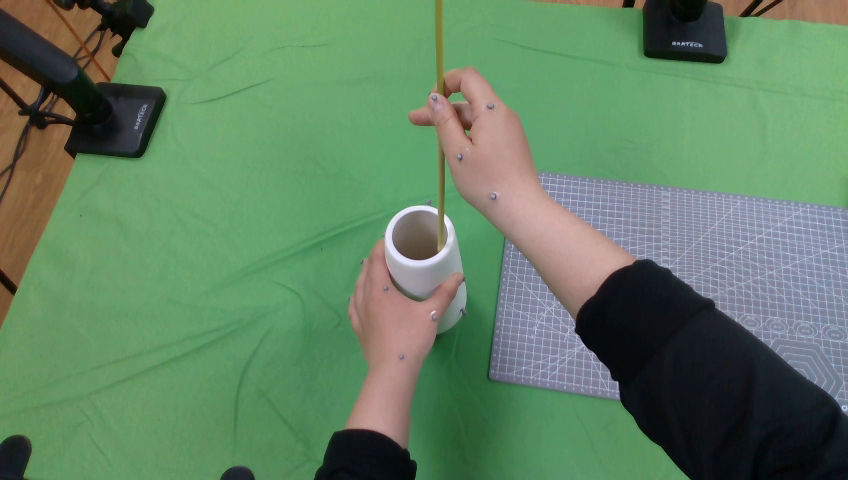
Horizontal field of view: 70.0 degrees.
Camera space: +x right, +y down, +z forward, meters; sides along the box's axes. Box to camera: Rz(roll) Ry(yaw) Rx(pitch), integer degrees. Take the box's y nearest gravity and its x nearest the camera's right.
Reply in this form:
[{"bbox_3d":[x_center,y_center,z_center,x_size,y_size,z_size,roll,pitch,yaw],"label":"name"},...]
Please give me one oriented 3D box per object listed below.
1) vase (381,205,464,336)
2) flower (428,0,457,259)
[{"bbox_3d":[-0.002,0.038,0.678,0.098,0.201,0.097,0,64,1],"label":"vase"},{"bbox_3d":[0.011,-0.125,0.467,0.043,0.365,0.038,22,47,32],"label":"flower"}]
